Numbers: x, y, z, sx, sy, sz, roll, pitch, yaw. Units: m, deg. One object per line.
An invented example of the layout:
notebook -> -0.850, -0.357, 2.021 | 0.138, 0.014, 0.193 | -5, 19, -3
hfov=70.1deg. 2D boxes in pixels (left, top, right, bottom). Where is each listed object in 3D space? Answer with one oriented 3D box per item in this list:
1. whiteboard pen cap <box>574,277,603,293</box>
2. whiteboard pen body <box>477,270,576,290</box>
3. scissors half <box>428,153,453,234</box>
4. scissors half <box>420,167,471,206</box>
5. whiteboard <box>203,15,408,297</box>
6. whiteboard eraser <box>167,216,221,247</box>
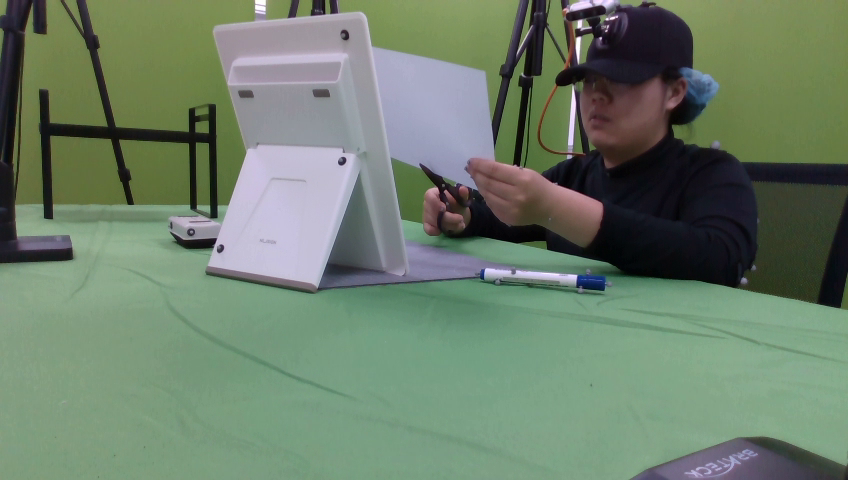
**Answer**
whiteboard pen cap -> 0.186, 0.051, 0.687 | 0.033, 0.018, 0.018 | 5, 8, 17
whiteboard pen body -> 0.131, 0.048, 0.705 | 0.140, 0.017, 0.017 | 4, 7, 18
scissors half -> 0.023, -0.070, 0.964 | 0.013, 0.175, 0.040 | 22, 55, 29
scissors half -> 0.036, -0.090, 0.970 | 0.012, 0.040, 0.176 | 26, 4, 30
whiteboard -> -0.166, -0.072, 0.669 | 0.216, 0.305, 0.144 | 8, 30, 30
whiteboard eraser -> -0.350, -0.013, 0.920 | 0.056, 0.042, 0.112 | 0, 7, -35
